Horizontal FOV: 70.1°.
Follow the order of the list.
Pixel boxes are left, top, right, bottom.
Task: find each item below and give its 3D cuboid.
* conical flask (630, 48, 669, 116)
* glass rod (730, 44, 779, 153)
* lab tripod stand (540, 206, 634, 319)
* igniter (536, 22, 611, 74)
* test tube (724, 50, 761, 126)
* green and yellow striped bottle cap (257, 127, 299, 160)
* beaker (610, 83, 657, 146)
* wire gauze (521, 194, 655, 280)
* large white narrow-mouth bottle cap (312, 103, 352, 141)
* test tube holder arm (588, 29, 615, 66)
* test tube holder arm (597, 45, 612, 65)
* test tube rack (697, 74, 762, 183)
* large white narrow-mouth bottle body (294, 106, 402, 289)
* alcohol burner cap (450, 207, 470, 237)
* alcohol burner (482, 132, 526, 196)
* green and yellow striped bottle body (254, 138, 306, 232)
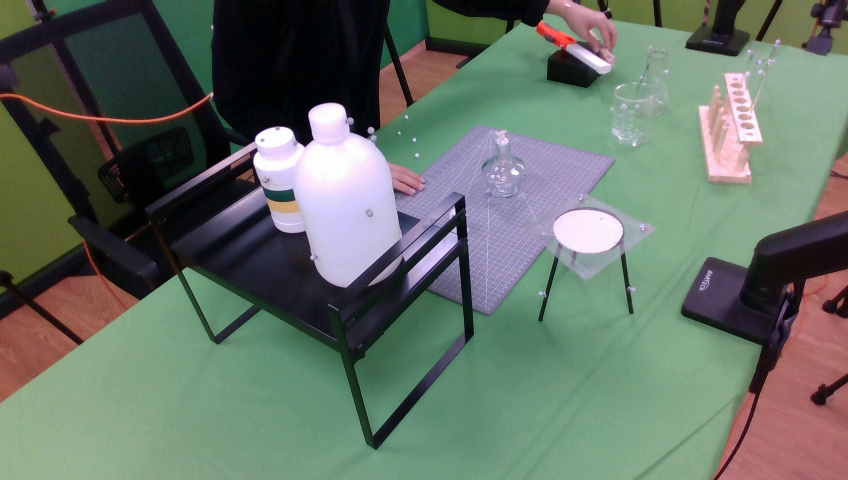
[{"bbox_3d":[0.456,-0.317,1.205,0.075,0.122,0.075,-4,41,4],"label":"conical flask"},{"bbox_3d":[0.555,-0.234,1.020,0.008,0.200,0.008,2,40,-1],"label":"glass rod"},{"bbox_3d":[0.218,0.034,0.821,0.148,0.132,0.147,-4,43,4],"label":"lab tripod stand"},{"bbox_3d":[0.329,-0.438,1.366,0.057,0.025,0.274,-11,41,-19],"label":"igniter"},{"bbox_3d":[0.570,-0.269,1.086,0.017,0.151,0.017,-1,46,1],"label":"test tube"},{"bbox_3d":[-0.169,-0.112,0.699,0.045,0.020,0.045,-6,40,6],"label":"green and yellow striped bottle cap"},{"bbox_3d":[0.388,-0.235,1.138,0.074,0.101,0.083,-31,45,-26],"label":"beaker"},{"bbox_3d":[0.207,-0.012,0.772,0.122,0.011,0.124,-28,44,-20],"label":"wire gauze"},{"bbox_3d":[-0.088,-0.113,0.579,0.038,0.024,0.037,-3,40,3],"label":"large white narrow-mouth bottle cap"},{"bbox_3d":[0.396,-0.432,1.351,0.013,0.015,0.177,-3,40,-1],"label":"test tube holder arm"},{"bbox_3d":[0.392,-0.402,1.317,0.010,0.015,0.087,-3,40,-1],"label":"test tube holder arm"},{"bbox_3d":[0.547,-0.208,1.095,0.066,0.085,0.242,5,42,15],"label":"test tube rack"},{"bbox_3d":[-0.082,-0.047,0.634,0.102,0.195,0.101,-4,40,3],"label":"large white narrow-mouth bottle body"},{"bbox_3d":[0.057,-0.032,0.987,0.034,0.048,0.033,-5,41,5],"label":"alcohol burner cap"},{"bbox_3d":[0.137,-0.136,1.042,0.078,0.119,0.077,-4,43,4],"label":"alcohol burner"},{"bbox_3d":[-0.165,-0.073,0.732,0.063,0.120,0.063,-4,41,4],"label":"green and yellow striped bottle body"}]
